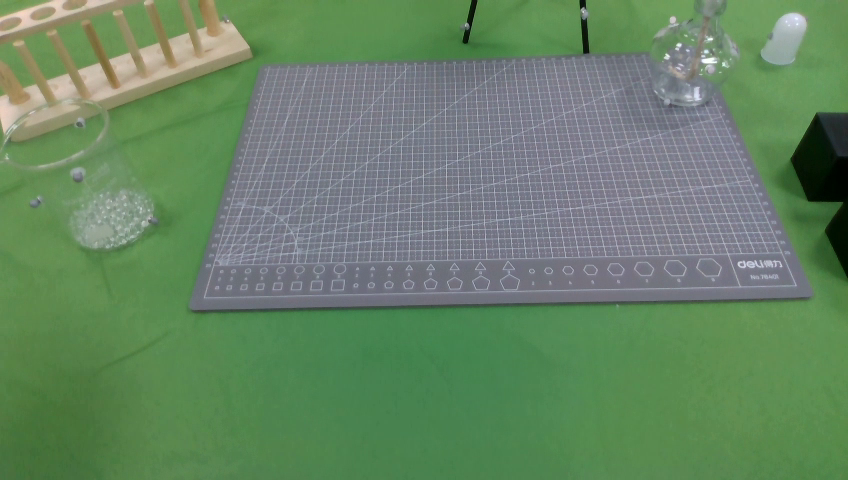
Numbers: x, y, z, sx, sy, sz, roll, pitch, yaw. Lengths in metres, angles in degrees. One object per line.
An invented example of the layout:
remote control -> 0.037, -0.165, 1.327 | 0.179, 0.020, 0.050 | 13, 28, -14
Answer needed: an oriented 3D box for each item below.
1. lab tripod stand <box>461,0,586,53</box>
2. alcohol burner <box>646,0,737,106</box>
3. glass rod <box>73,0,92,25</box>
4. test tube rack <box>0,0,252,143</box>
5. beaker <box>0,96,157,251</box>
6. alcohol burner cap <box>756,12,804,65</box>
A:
lab tripod stand -> 0.110, -0.269, 0.603 | 0.148, 0.132, 0.147 | 0, 51, 1
alcohol burner -> 0.240, -0.178, 0.532 | 0.078, 0.120, 0.077 | -1, 53, 2
glass rod -> -0.317, -0.230, 0.539 | 0.008, 0.201, 0.008 | 1, 53, -2
test tube rack -> -0.304, -0.189, 0.591 | 0.242, 0.086, 0.066 | -26, 54, -17
beaker -> -0.260, -0.045, 0.465 | 0.084, 0.101, 0.073 | -24, 54, -14
alcohol burner cap -> 0.352, -0.200, 0.594 | 0.034, 0.048, 0.033 | -1, 51, 2
